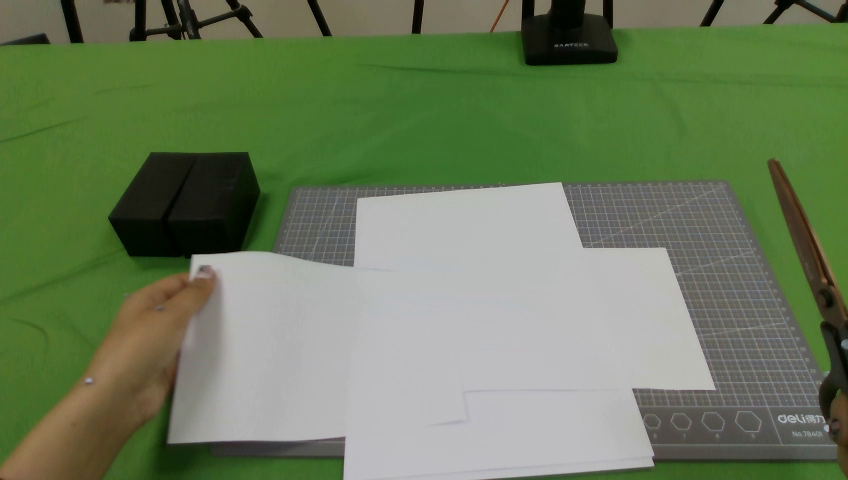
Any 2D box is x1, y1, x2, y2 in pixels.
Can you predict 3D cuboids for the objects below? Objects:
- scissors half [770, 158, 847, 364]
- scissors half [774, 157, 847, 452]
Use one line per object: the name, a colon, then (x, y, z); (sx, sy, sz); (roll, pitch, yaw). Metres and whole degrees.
scissors half: (0.205, 0.038, 0.291); (0.013, 0.040, 0.174); (-17, 74, -2)
scissors half: (0.207, 0.041, 0.311); (0.013, 0.175, 0.040); (-17, 1, 3)
